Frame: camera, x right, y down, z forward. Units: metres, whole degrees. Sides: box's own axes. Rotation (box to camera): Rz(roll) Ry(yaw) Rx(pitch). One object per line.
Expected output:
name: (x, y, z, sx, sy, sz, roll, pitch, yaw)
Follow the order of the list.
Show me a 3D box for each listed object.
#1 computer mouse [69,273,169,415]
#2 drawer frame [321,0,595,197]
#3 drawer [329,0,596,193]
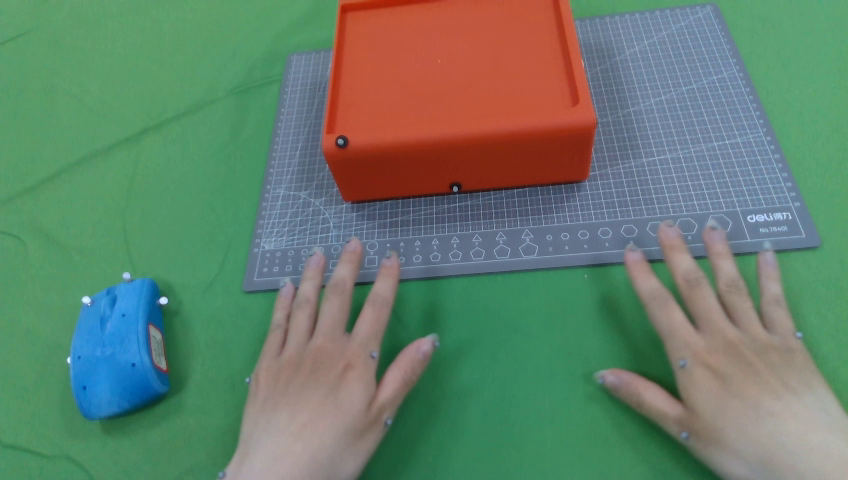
computer mouse: (-0.237, 0.075, 0.469, 0.063, 0.041, 0.116, -21, 52, -2)
drawer frame: (0.029, -0.143, 0.538, 0.213, 0.083, 0.199, -6, 57, 7)
drawer: (0.032, -0.142, 0.538, 0.211, 0.074, 0.192, -5, 57, 7)
